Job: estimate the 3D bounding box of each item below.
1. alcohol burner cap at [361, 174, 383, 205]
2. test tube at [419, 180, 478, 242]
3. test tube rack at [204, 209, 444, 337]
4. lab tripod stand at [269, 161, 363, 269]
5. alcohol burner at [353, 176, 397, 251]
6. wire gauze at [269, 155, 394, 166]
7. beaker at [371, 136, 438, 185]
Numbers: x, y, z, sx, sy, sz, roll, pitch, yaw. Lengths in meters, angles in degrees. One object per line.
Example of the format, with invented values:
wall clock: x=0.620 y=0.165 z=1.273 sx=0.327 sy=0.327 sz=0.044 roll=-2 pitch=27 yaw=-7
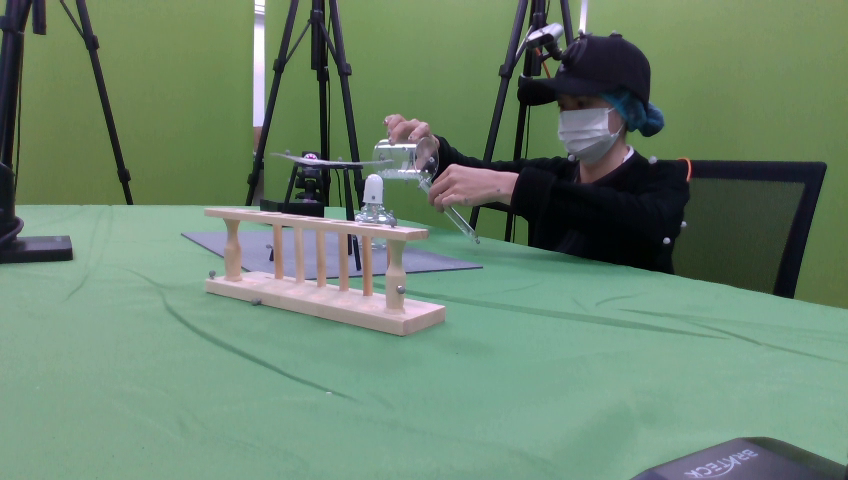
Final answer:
alcohol burner cap: x=-0.080 y=-0.078 z=0.944 sx=0.034 sy=0.048 sz=0.034 roll=5 pitch=8 yaw=0
test tube: x=0.040 y=-0.049 z=0.998 sx=0.017 sy=0.017 sz=0.149 roll=-6 pitch=46 yaw=-48
test tube rack: x=-0.100 y=0.021 z=0.565 sx=0.241 sy=0.085 sz=0.067 roll=7 pitch=9 yaw=32
lab tripod stand: x=-0.125 y=-0.036 z=0.794 sx=0.148 sy=0.131 sz=0.148 roll=5 pitch=7 yaw=0
alcohol burner: x=-0.082 y=-0.043 z=0.950 sx=0.078 sy=0.119 sz=0.078 roll=1 pitch=8 yaw=0
wire gauze: x=-0.121 y=-0.102 z=0.785 sx=0.122 sy=0.011 sz=0.124 roll=-3 pitch=10 yaw=-39
beaker: x=-0.036 y=-0.139 z=1.059 sx=0.100 sy=0.084 sz=0.074 roll=5 pitch=0 yaw=35
